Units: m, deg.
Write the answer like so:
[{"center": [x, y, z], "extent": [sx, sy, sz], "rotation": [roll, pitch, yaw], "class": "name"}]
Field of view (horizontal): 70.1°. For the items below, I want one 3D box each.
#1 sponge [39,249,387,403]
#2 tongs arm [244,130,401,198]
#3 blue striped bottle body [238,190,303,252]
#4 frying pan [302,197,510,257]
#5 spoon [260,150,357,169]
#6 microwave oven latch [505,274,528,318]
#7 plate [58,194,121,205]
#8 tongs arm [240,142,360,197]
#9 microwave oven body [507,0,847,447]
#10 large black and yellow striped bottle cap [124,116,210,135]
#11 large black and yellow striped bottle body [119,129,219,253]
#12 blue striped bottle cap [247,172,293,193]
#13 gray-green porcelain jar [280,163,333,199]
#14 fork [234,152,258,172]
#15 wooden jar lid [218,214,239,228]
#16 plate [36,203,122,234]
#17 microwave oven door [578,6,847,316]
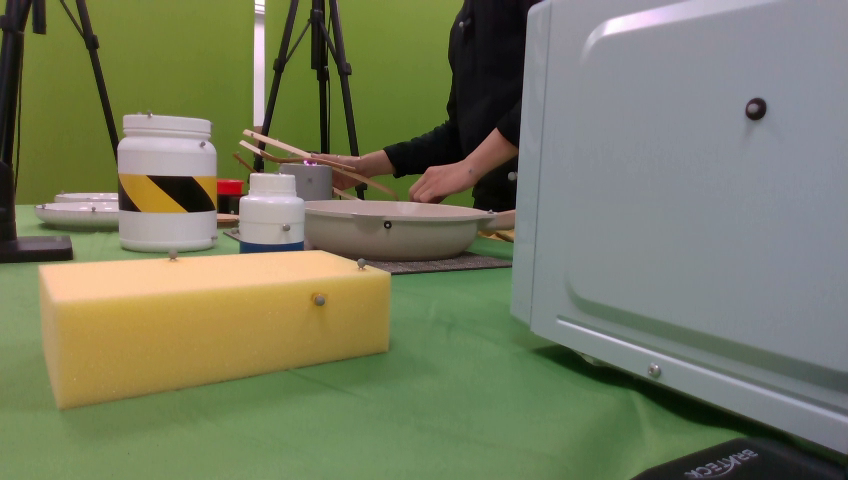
[{"center": [-0.142, 0.047, 0.420], "extent": [0.208, 0.061, 0.117], "rotation": [-3, 8, -36], "class": "sponge"}, {"center": [-0.230, -0.162, 1.396], "extent": [0.385, 0.050, 0.026], "rotation": [19, 24, -7], "class": "tongs arm"}, {"center": [-0.153, -0.007, 0.606], "extent": [0.063, 0.120, 0.063], "rotation": [2, 7, 0], "class": "blue striped bottle body"}, {"center": [0.051, -0.035, 0.915], "extent": [0.487, 0.102, 0.307], "rotation": [-5, 7, 10], "class": "frying pan"}, {"center": [-0.231, -0.162, 1.221], "extent": [0.194, 0.021, 0.041], "rotation": [3, 2, -15], "class": "spoon"}, {"center": [0.100, 0.041, 0.472], "extent": [0.079, 0.029, 0.030], "rotation": [-2, 8, -30], "class": "microwave oven latch"}, {"center": [-0.671, -0.074, 1.310], "extent": [0.209, 0.038, 0.209], "rotation": [2, 8, 0], "class": "plate"}, {"center": [-0.239, -0.145, 1.405], "extent": [0.388, 0.028, 0.027], "rotation": [23, 20, -9], "class": "tongs arm"}, {"center": [0.331, -0.042, 0.425], "extent": [0.444, 0.260, 0.324], "rotation": [-2, 8, -31], "class": "microwave oven body"}, {"center": [-0.366, -0.163, 0.866], "extent": [0.115, 0.019, 0.115], "rotation": [3, 7, 0], "class": "large black and yellow striped bottle cap"}, {"center": [-0.367, -0.080, 0.876], "extent": [0.131, 0.184, 0.130], "rotation": [1, 7, 0], "class": "large black and yellow striped bottle body"}, {"center": [-0.152, -0.057, 0.598], "extent": [0.044, 0.020, 0.044], "rotation": [3, 7, 0], "class": "blue striped bottle cap"}, {"center": [-0.238, -0.091, 1.220], "extent": [0.106, 0.126, 0.106], "rotation": [2, 7, 0], "class": "gray-green porcelain jar"}, {"center": [-0.396, -0.143, 1.486], "extent": [0.028, 0.018, 0.208], "rotation": [21, -26, 45], "class": "fork"}, {"center": [-0.404, -0.037, 1.169], "extent": [0.108, 0.020, 0.108], "rotation": [3, 7, 0], "class": "wooden jar lid"}, {"center": [-0.571, -0.040, 1.083], "extent": [0.208, 0.039, 0.207], "rotation": [2, 8, 0], "class": "plate"}, {"center": [0.294, -0.067, 0.570], "extent": [0.358, 0.243, 0.039], "rotation": [-3, 9, -31], "class": "microwave oven door"}]
